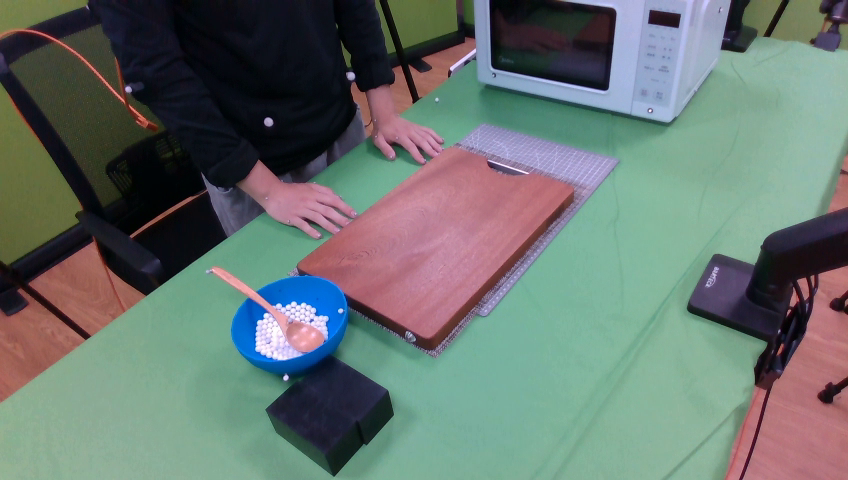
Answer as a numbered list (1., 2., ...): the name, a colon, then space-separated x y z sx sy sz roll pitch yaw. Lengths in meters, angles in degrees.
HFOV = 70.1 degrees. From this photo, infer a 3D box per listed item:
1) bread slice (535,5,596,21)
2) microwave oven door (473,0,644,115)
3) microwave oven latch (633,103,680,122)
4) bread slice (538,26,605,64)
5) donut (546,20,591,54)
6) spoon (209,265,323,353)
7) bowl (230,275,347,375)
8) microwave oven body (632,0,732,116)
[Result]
1. bread slice: 0.304 -0.481 1.278 0.106 0.018 0.134 11 29 23
2. microwave oven door: 0.257 -0.396 1.199 0.353 0.245 0.039 21 48 29
3. microwave oven latch: 0.444 -0.249 1.157 0.078 0.029 0.030 20 48 30
4. bread slice: 0.332 -0.435 1.339 0.132 0.019 0.104 -40 44 -22
5. donut: 0.311 -0.437 1.299 0.099 0.048 0.098 -21 35 16
6. spoon: -0.213 0.087 0.806 0.193 0.021 0.042 37 56 11
7. bowl: -0.171 0.125 0.802 0.151 0.077 0.150 -4 40 4
8. microwave oven body: 0.377 -0.462 1.267 0.438 0.261 0.327 21 48 30
